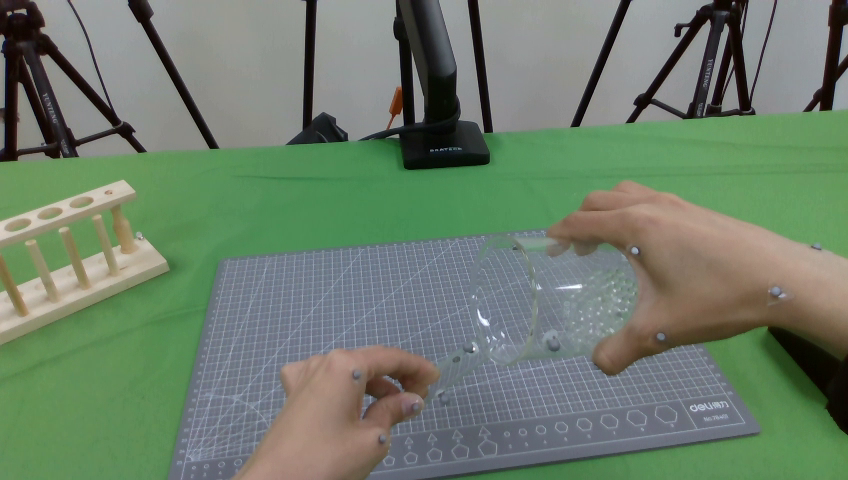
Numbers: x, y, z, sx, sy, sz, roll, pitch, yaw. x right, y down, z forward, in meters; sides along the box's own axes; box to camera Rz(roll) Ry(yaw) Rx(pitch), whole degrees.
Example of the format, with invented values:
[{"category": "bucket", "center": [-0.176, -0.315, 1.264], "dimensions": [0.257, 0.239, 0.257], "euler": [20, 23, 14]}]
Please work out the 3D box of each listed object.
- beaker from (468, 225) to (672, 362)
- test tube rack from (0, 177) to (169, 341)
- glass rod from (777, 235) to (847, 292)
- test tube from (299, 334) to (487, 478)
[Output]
[{"category": "beaker", "center": [0.086, 0.033, 0.359], "dimensions": [0.101, 0.084, 0.073], "euler": [0, 40, -22]}, {"category": "test tube rack", "center": [-0.384, 0.029, 0.576], "dimensions": [0.242, 0.086, 0.066], "euler": [-28, 44, -33]}, {"category": "glass rod", "center": [0.373, 0.051, 0.511], "dimensions": [0.008, 0.008, 0.197], "euler": [-11, 37, -13]}, {"category": "test tube", "center": [-0.022, 0.107, 0.380], "dimensions": [0.150, 0.017, 0.017], "euler": [-38, 35, 13]}]
